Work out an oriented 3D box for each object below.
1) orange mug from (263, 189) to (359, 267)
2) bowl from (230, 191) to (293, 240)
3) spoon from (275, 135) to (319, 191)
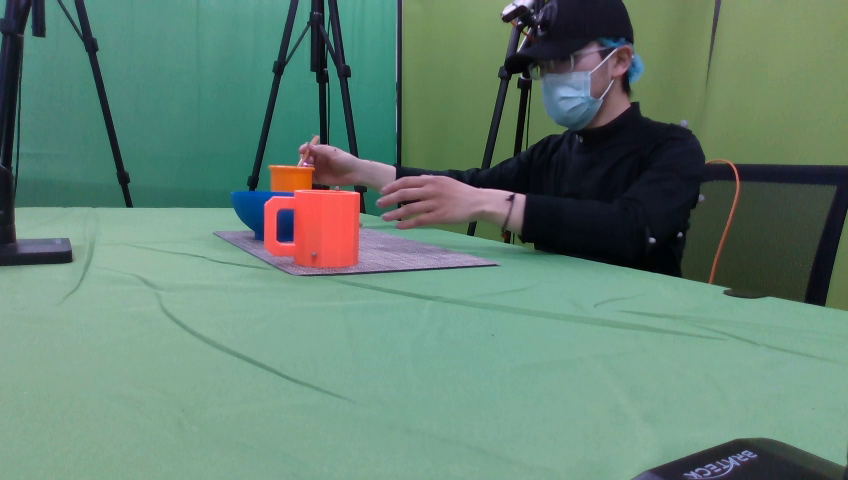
[{"bbox_3d":[-0.147,-0.019,0.795,0.127,0.100,0.083,4,6,-19],"label":"orange mug"},{"bbox_3d":[-0.249,-0.042,1.023,0.151,0.077,0.151,2,7,0],"label":"bowl"},{"bbox_3d":[-0.255,-0.153,1.244,0.041,0.193,0.021,13,-33,11],"label":"spoon"}]
